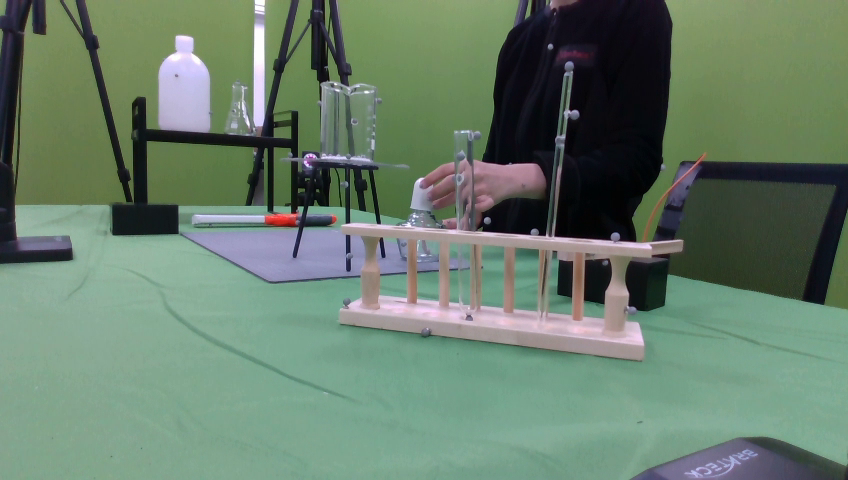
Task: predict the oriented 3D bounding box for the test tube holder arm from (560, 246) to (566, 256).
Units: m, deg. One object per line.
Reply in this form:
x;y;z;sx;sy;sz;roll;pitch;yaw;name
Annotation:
0.173;0.007;0.612;0.088;0.015;0.010;-3;9;-30;test tube holder arm

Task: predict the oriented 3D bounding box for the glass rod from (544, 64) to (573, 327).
0.101;-0.028;0.453;0.008;0.199;0.008;2;13;0;glass rod

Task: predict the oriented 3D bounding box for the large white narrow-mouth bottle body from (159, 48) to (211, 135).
-0.503;-0.323;1.275;0.102;0.194;0.102;2;7;0;large white narrow-mouth bottle body

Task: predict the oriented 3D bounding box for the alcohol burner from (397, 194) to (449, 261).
-0.002;-0.031;0.846;0.078;0.119;0.078;0;6;0;alcohol burner

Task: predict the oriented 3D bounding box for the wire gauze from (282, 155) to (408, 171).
-0.104;-0.103;0.785;0.126;0.011;0.121;1;8;-39;wire gauze

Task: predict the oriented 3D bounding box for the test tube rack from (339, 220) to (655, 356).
0.056;0.032;0.495;0.242;0.085;0.067;4;7;15;test tube rack

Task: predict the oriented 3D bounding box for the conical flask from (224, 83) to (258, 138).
-0.422;-0.299;1.395;0.075;0.122;0.075;2;7;0;conical flask

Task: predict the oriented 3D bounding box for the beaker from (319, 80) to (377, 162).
-0.098;-0.150;0.777;0.074;0.100;0.084;1;7;-7;beaker

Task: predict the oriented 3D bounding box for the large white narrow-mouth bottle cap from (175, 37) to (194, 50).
-0.501;-0.410;1.264;0.038;0.024;0.037;2;7;0;large white narrow-mouth bottle cap

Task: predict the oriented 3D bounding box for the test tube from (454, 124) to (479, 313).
0.034;-0.015;0.477;0.017;0.150;0.017;-2;9;1;test tube

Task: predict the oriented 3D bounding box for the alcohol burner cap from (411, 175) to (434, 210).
0.000;-0.067;0.843;0.034;0.048;0.034;6;9;-1;alcohol burner cap

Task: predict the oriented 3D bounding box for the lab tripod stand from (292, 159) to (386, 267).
-0.105;-0.039;0.798;0.148;0.131;0.148;2;5;0;lab tripod stand

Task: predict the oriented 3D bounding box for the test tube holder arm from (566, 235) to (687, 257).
0.215;0.006;0.630;0.179;0.015;0.013;-3;9;-30;test tube holder arm

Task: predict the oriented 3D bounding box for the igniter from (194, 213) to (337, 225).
-0.306;-0.042;1.196;0.278;0.025;0.057;-2;-2;-31;igniter
